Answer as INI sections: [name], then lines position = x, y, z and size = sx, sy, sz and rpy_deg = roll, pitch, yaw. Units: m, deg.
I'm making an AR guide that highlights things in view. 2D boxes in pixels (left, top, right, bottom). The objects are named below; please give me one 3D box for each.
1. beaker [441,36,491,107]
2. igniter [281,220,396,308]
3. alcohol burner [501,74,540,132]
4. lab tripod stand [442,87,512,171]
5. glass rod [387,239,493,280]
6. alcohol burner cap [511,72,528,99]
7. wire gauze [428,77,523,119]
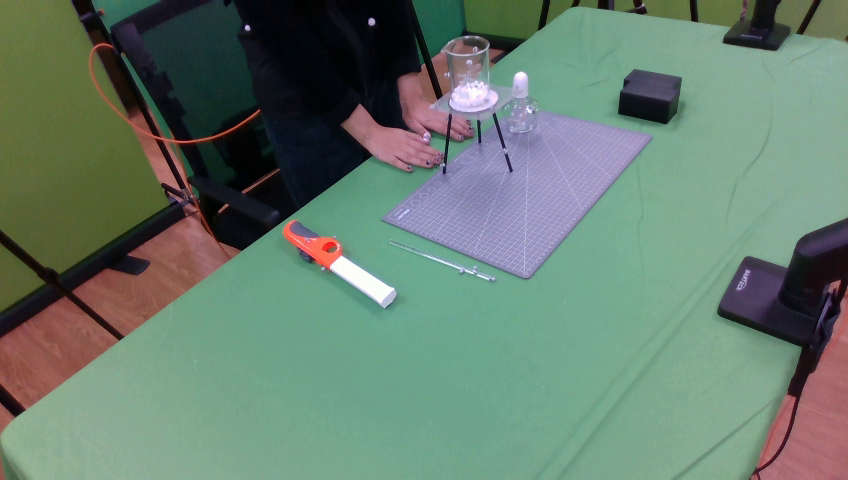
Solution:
[beaker]
position = 0.074, -0.287, 1.036
size = 0.084, 0.101, 0.073
rpy_deg = -1, 41, 8
[igniter]
position = -0.146, 0.032, 0.966
size = 0.274, 0.025, 0.057
rpy_deg = 30, 64, 37
[alcohol burner]
position = 0.191, -0.275, 1.194
size = 0.078, 0.119, 0.077
rpy_deg = -4, 42, 4
[lab tripod stand]
position = 0.097, -0.200, 1.108
size = 0.148, 0.132, 0.147
rpy_deg = -4, 40, 4
[glass rod]
position = 0.021, 0.028, 0.953
size = 0.198, 0.008, 0.008
rpy_deg = 19, 48, 29
[alcohol burner cap]
position = 0.185, -0.302, 1.171
size = 0.034, 0.048, 0.033
rpy_deg = -2, 42, 2
[wire gauze]
position = 0.090, -0.248, 1.063
size = 0.120, 0.011, 0.125
rpy_deg = 24, 48, 30
